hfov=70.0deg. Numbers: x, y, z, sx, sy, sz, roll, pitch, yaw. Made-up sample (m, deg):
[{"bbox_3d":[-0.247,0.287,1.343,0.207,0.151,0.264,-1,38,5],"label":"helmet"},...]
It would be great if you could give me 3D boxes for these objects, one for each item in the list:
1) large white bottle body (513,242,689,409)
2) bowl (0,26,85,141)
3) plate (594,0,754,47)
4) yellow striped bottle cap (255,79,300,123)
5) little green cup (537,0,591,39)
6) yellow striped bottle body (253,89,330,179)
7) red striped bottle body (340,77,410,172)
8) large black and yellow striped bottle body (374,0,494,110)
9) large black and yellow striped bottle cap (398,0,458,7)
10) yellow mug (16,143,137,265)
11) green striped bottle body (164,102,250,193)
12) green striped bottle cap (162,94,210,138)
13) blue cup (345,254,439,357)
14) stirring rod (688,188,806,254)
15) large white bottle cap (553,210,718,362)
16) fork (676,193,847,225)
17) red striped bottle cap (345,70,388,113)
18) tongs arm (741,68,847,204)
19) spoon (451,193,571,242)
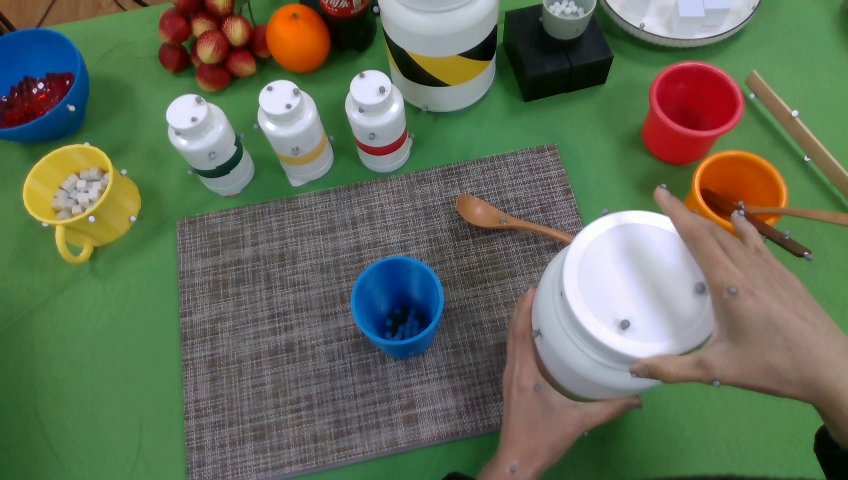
[{"bbox_3d":[0.153,0.070,0.529,0.130,0.186,0.129,0,66,0],"label":"large white bottle body"},{"bbox_3d":[-0.475,-0.174,0.734,0.151,0.077,0.150,-1,67,2],"label":"bowl"},{"bbox_3d":[0.314,-0.328,0.779,0.209,0.038,0.207,-1,67,3],"label":"plate"},{"bbox_3d":[-0.151,-0.143,0.624,0.044,0.019,0.044,-1,68,2],"label":"yellow striped bottle cap"},{"bbox_3d":[0.160,-0.268,0.706,0.061,0.039,0.061,-1,65,2],"label":"little green cup"},{"bbox_3d":[-0.148,-0.122,0.671,0.063,0.121,0.062,-2,67,4],"label":"yellow striped bottle body"},{"bbox_3d":[-0.054,-0.132,0.670,0.063,0.120,0.062,-3,65,7],"label":"red striped bottle body"},{"bbox_3d":[0.012,-0.250,0.682,0.131,0.185,0.130,-1,67,3],"label":"large black and yellow striped bottle body"},{"bbox_3d":[0.007,-0.282,0.605,0.115,0.019,0.114,-1,66,4],"label":"large black and yellow striped bottle cap"},{"bbox_3d":[-0.388,-0.035,0.676,0.100,0.064,0.130,-3,67,1],"label":"yellow mug"},{"bbox_3d":[-0.241,-0.106,0.670,0.063,0.120,0.062,-1,66,3],"label":"green striped bottle body"},{"bbox_3d":[-0.245,-0.127,0.622,0.044,0.020,0.044,-1,65,2],"label":"green striped bottle cap"},{"bbox_3d":[-0.027,0.072,0.587,0.092,0.101,0.092,-1,66,2],"label":"blue cup"},{"bbox_3d":[0.310,-0.023,0.595,0.014,0.006,0.174,-10,24,-4],"label":"stirring rod"},{"bbox_3d":[0.153,0.031,0.441,0.115,0.018,0.114,-1,65,3],"label":"large white bottle cap"},{"bbox_3d":[0.340,-0.028,0.588,0.028,0.019,0.205,-50,29,-16],"label":"fork"},{"bbox_3d":[-0.059,-0.153,0.622,0.044,0.018,0.044,0,64,-1],"label":"red striped bottle cap"},{"bbox_3d":[0.480,-0.048,0.650,0.051,0.027,0.381,-24,68,-9],"label":"tongs arm"},{"bbox_3d":[0.121,-0.011,0.658,0.193,0.022,0.041,18,44,10],"label":"spoon"}]
